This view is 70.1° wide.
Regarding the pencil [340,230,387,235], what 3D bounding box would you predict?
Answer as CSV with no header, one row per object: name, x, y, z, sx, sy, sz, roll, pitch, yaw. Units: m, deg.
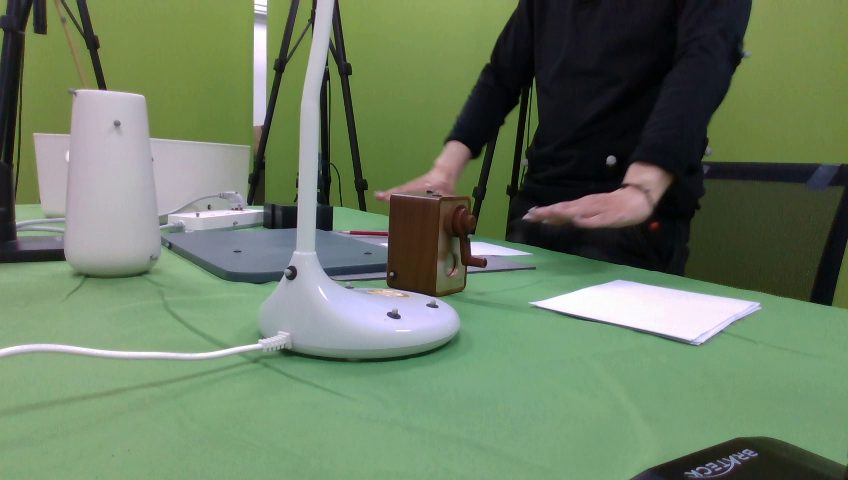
pencil,-0.057,-0.013,1.095,0.195,0.012,0.012,1,8,-19

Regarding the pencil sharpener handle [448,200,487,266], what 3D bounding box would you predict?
pencil sharpener handle,0.049,-0.006,0.623,0.030,0.068,0.036,8,22,37

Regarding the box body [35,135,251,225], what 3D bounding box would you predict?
box body,-0.559,-0.127,1.257,0.253,0.160,0.365,4,8,15

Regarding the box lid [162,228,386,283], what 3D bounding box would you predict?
box lid,-0.200,0.014,0.861,0.265,0.015,0.369,-4,10,-35

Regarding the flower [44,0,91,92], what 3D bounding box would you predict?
flower,-0.361,-0.142,0.663,0.044,0.361,0.038,-12,11,31

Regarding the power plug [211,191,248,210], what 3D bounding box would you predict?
power plug,-0.384,-0.071,1.205,0.072,0.052,0.035,1,8,28

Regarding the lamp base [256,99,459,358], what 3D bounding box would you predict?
lamp base,-0.055,-0.013,0.463,0.160,0.180,0.180,6,11,27

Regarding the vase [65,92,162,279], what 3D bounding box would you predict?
vase,-0.347,-0.060,0.673,0.098,0.200,0.098,1,7,0

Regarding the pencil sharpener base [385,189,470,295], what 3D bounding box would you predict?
pencil sharpener base,0.006,0.001,0.653,0.076,0.107,0.061,8,9,37

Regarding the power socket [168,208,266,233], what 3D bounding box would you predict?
power socket,-0.379,-0.038,1.129,0.072,0.032,0.227,4,8,18
